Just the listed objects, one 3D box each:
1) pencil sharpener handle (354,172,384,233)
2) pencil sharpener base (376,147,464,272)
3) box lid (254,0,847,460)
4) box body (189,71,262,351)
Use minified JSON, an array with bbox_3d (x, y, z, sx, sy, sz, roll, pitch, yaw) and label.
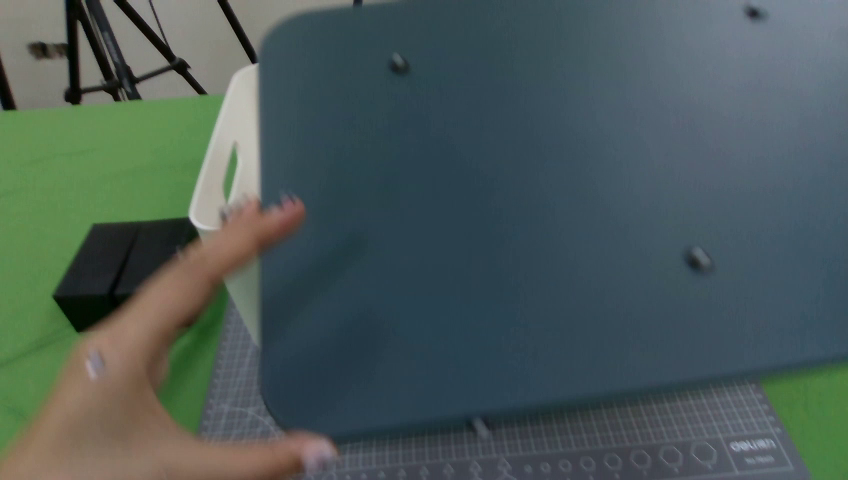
[{"bbox_3d":[-0.054,-0.032,0.567,0.030,0.068,0.035,-4,45,1],"label":"pencil sharpener handle"},{"bbox_3d":[-0.002,-0.026,0.574,0.077,0.108,0.060,-4,43,1],"label":"pencil sharpener base"},{"bbox_3d":[0.096,-0.048,0.312,0.372,0.015,0.261,-9,62,-2],"label":"box lid"},{"bbox_3d":[0.010,-0.045,0.563,0.364,0.162,0.251,-6,42,-2],"label":"box body"}]
